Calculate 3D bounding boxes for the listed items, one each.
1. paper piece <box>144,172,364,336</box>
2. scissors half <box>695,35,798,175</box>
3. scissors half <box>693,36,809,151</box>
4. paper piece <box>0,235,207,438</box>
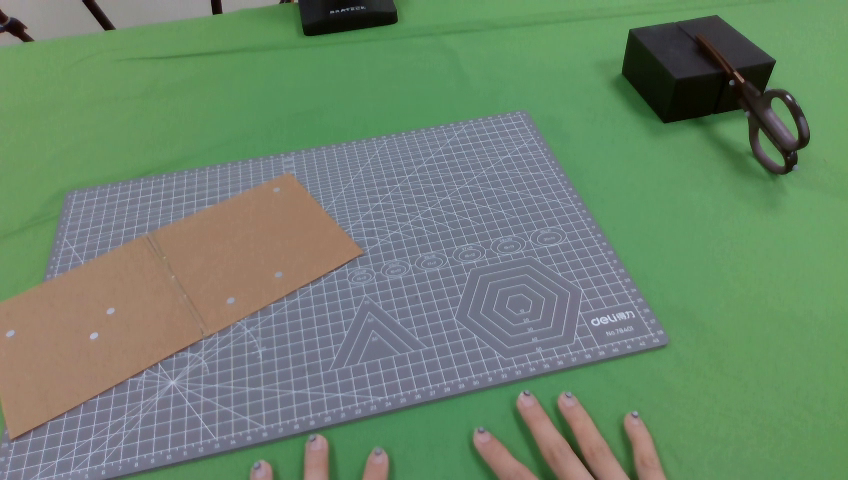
[{"bbox_3d":[-0.143,0.003,0.505,0.138,0.009,0.134,-28,54,-23],"label":"paper piece"},{"bbox_3d":[0.292,-0.130,0.563,0.013,0.040,0.173,-15,63,-3],"label":"scissors half"},{"bbox_3d":[0.288,-0.141,0.546,0.013,0.040,0.173,-19,46,1],"label":"scissors half"},{"bbox_3d":[-0.251,0.062,0.454,0.136,0.004,0.134,-28,50,-22],"label":"paper piece"}]
